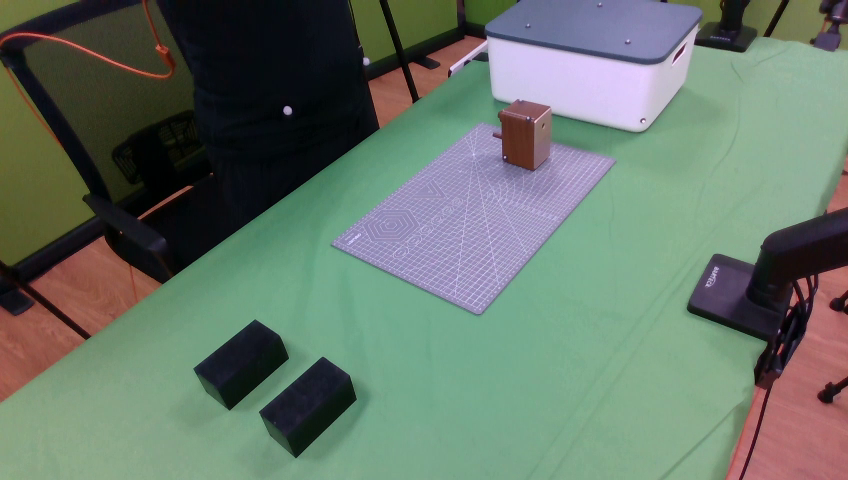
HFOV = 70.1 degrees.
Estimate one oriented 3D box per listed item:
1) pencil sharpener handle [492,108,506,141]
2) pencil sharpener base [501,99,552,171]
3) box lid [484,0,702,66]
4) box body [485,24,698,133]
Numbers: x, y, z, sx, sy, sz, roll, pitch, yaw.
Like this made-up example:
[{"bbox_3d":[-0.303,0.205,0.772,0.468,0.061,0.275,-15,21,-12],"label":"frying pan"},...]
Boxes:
[{"bbox_3d":[0.141,-0.216,1.114,0.030,0.068,0.036,23,41,32],"label":"pencil sharpener handle"},{"bbox_3d":[0.184,-0.191,1.097,0.076,0.107,0.061,23,49,32],"label":"pencil sharpener base"},{"bbox_3d":[0.333,-0.428,1.202,0.368,0.015,0.264,21,48,30],"label":"box lid"},{"bbox_3d":[0.340,-0.373,1.251,0.361,0.161,0.255,21,48,30],"label":"box body"}]
